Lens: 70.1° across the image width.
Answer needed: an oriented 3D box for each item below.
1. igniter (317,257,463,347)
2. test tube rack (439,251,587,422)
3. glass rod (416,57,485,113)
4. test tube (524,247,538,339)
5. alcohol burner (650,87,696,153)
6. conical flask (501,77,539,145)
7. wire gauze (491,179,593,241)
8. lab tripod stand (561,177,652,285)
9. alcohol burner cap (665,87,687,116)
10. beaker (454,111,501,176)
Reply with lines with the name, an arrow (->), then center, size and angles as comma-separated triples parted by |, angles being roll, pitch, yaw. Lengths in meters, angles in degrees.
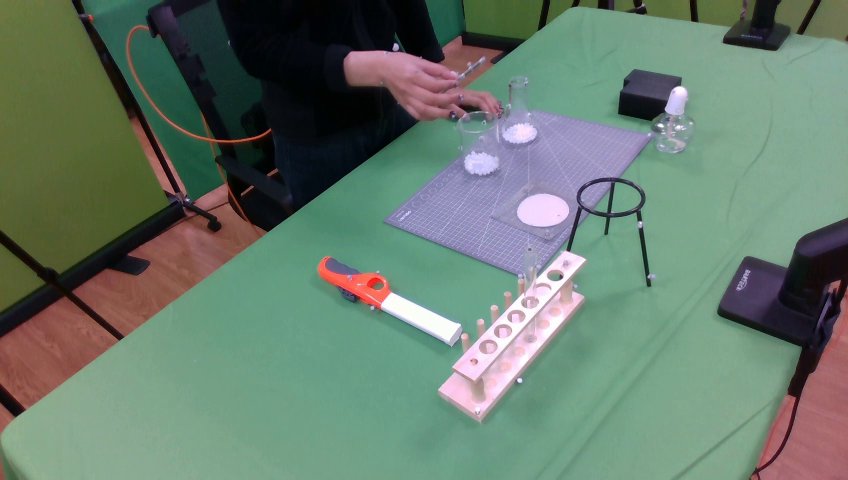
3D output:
igniter -> -0.061, 0.086, 0.891 | 0.274, 0.025, 0.057 | 23, 59, 33
test tube rack -> 0.118, 0.111, 0.780 | 0.066, 0.085, 0.243 | 26, 51, 34
glass rod -> 0.039, -0.250, 0.992 | 0.008, 0.008, 0.198 | -44, 11, -33
test tube -> 0.133, 0.070, 0.749 | 0.017, 0.151, 0.017 | -5, 38, 4
alcohol burner -> 0.448, -0.217, 1.084 | 0.078, 0.119, 0.077 | -6, 38, 5
conical flask -> 0.183, -0.250, 1.163 | 0.075, 0.122, 0.075 | -6, 40, 5
wire gauze -> 0.198, -0.051, 1.014 | 0.125, 0.011, 0.120 | -38, 48, -27
lab tripod stand -> 0.263, -0.014, 0.864 | 0.148, 0.132, 0.147 | -7, 38, 6
alcohol burner cap -> 0.445, -0.244, 1.060 | 0.034, 0.048, 0.033 | -2, 45, 3
beaker -> 0.101, -0.173, 1.106 | 0.084, 0.101, 0.073 | -5, 40, 6
